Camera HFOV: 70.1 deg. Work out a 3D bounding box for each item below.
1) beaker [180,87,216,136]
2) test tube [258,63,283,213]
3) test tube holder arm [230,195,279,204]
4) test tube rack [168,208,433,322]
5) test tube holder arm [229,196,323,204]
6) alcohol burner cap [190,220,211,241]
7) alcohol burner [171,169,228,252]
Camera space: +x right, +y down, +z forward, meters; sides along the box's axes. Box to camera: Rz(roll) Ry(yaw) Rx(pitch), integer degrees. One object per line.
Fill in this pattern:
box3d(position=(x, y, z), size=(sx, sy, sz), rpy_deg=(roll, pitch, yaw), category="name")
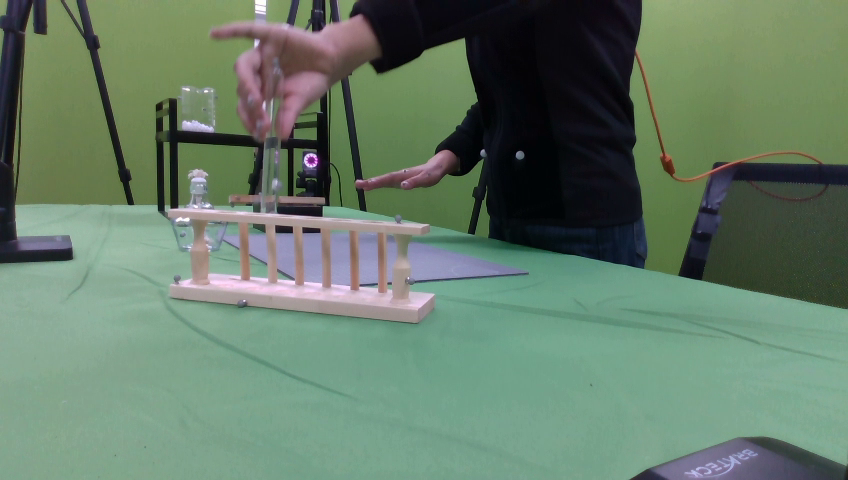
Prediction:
box3d(position=(-0.498, -0.283, 1.339), size=(0.074, 0.100, 0.083), rpy_deg=(-2, 9, -28), category="beaker")
box3d(position=(-0.148, -0.092, 0.581), size=(0.017, 0.150, 0.017), rpy_deg=(7, 12, -1), category="test tube")
box3d(position=(-0.312, -0.075, 1.115), size=(0.088, 0.015, 0.010), rpy_deg=(-1, 2, -32), category="test tube holder arm")
box3d(position=(-0.116, 0.018, 0.574), size=(0.242, 0.085, 0.067), rpy_deg=(4, 8, 13), category="test tube rack")
box3d(position=(-0.276, -0.076, 1.144), size=(0.179, 0.015, 0.013), rpy_deg=(-2, 2, -33), category="test tube holder arm")
box3d(position=(-0.365, -0.023, 0.988), size=(0.034, 0.048, 0.034), rpy_deg=(2, 8, 0), category="alcohol burner cap")
box3d(position=(-0.325, -0.043, 0.874), size=(0.078, 0.119, 0.078), rpy_deg=(0, 7, 0), category="alcohol burner")
